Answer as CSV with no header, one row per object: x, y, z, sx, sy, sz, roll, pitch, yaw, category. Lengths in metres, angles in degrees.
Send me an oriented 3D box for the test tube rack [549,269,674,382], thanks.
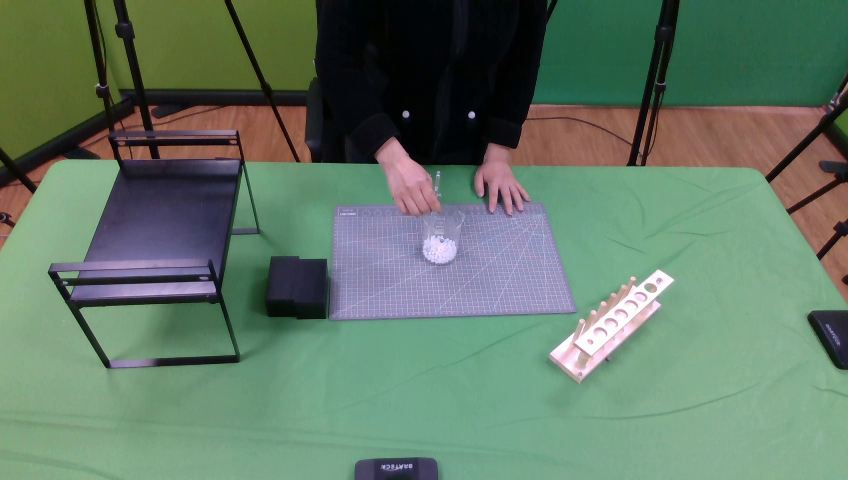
0.325,0.134,1.047,0.242,0.085,0.066,-32,56,-30,test tube rack

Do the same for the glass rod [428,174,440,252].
0.017,-0.044,1.105,0.008,0.200,0.008,3,47,-3,glass rod

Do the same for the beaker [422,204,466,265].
0.035,-0.008,1.151,0.084,0.101,0.073,-9,48,-13,beaker
